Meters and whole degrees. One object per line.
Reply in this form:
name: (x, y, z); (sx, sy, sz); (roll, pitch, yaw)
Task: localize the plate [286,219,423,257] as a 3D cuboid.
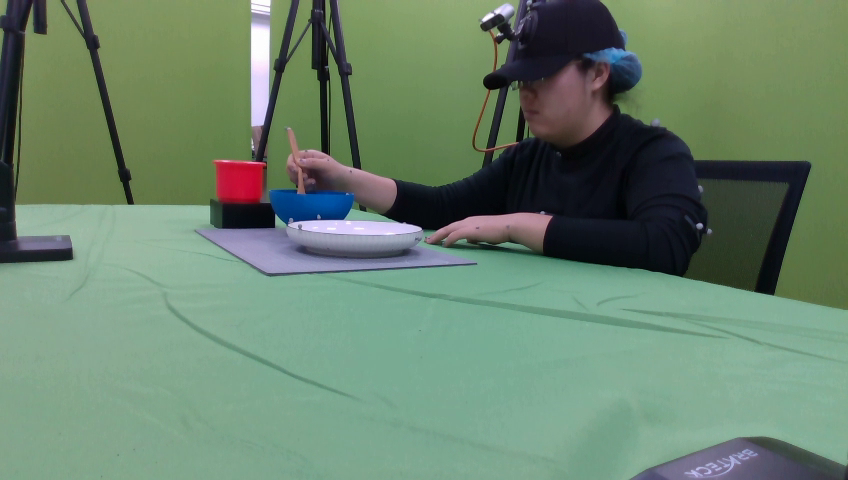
plate: (-0.105, -0.004, 0.922); (0.208, 0.039, 0.207); (3, 8, 0)

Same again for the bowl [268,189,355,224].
bowl: (-0.201, -0.048, 1.078); (0.151, 0.077, 0.151); (3, 7, 0)

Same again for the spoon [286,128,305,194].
spoon: (-0.227, -0.116, 1.095); (0.021, 0.193, 0.042); (-21, -16, 40)
